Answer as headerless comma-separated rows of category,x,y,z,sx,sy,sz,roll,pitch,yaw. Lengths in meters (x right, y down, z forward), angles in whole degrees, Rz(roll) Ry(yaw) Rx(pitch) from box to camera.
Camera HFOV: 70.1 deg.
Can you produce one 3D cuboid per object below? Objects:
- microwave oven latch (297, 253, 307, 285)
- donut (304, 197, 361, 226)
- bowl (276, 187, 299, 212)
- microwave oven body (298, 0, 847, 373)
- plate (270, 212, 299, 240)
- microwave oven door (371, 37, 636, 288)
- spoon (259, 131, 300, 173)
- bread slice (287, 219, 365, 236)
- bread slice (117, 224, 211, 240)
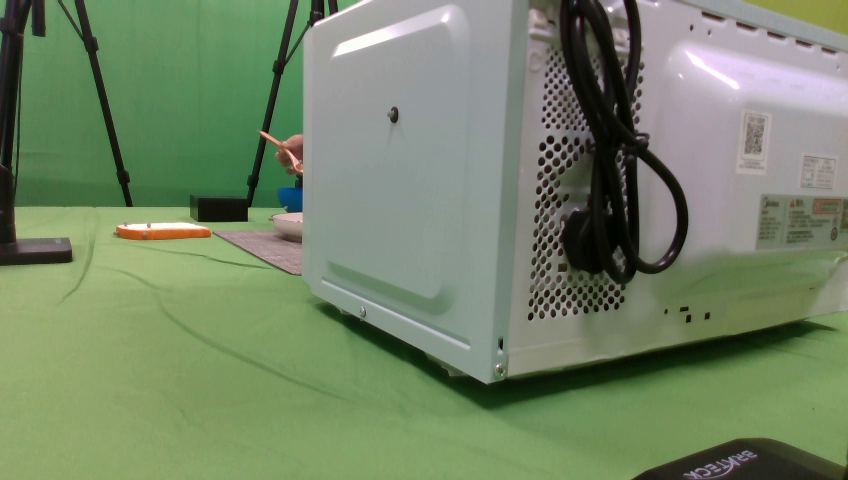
microwave oven latch,-0.082,0.027,0.582,0.079,0.029,0.030,-1,7,-32
donut,-0.159,-0.050,1.055,0.099,0.048,0.099,3,8,0
bowl,-0.241,-0.073,1.302,0.151,0.077,0.151,2,7,0
microwave oven body,0.151,-0.055,0.542,0.444,0.260,0.324,-1,7,-33
plate,-0.162,-0.022,1.058,0.208,0.039,0.207,2,7,0
microwave oven door,0.109,-0.080,0.686,0.358,0.243,0.039,-2,9,-33
spoon,-0.281,-0.178,1.236,0.193,0.021,0.042,43,28,29
bread slice,-0.170,-0.022,1.056,0.134,0.018,0.107,2,7,-6
bread slice,-0.443,-0.015,1.022,0.132,0.019,0.104,-3,8,-45
